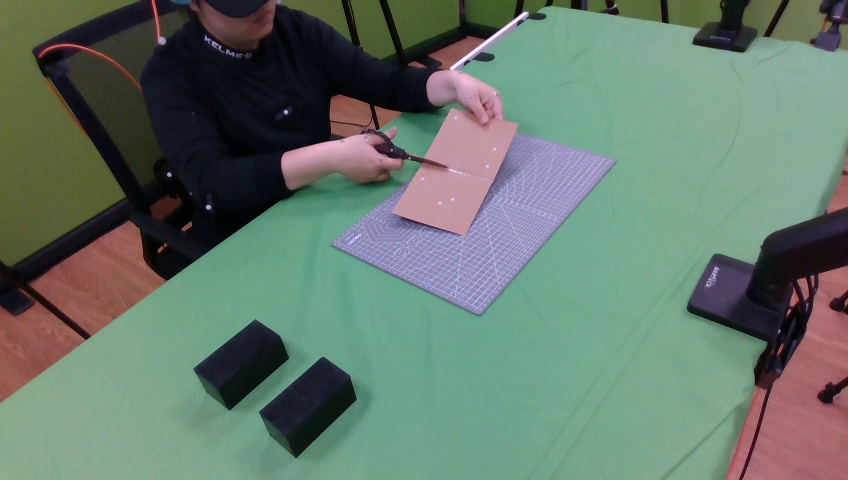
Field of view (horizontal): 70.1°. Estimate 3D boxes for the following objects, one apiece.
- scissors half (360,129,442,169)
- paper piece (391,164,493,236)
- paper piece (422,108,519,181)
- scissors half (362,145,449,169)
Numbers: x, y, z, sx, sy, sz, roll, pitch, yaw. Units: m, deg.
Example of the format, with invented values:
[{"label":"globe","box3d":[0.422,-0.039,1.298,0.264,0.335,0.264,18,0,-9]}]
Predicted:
[{"label":"scissors half","box3d":[-0.036,-0.158,1.086,0.175,0.040,0.013,25,62,2]},{"label":"paper piece","box3d":[0.032,-0.073,1.032,0.135,0.004,0.135,18,53,16]},{"label":"paper piece","box3d":[0.086,-0.176,1.099,0.135,0.009,0.138,21,62,12]},{"label":"scissors half","box3d":[-0.035,-0.145,1.103,0.174,0.040,0.013,12,54,23]}]
